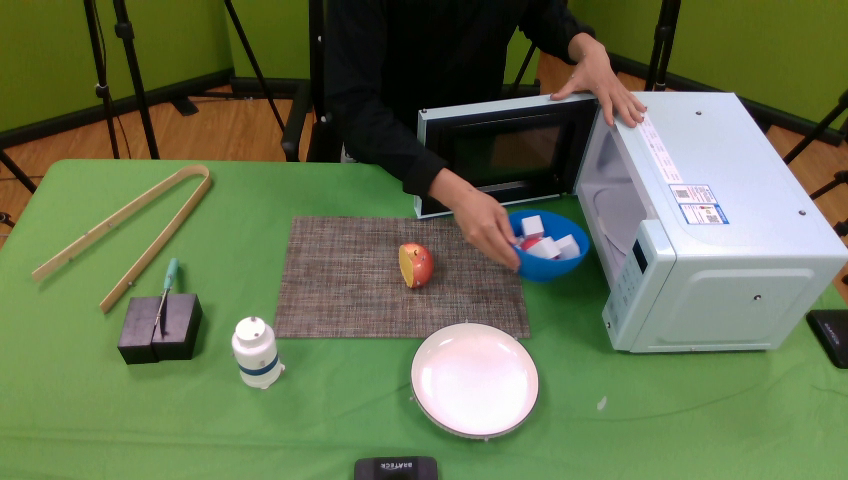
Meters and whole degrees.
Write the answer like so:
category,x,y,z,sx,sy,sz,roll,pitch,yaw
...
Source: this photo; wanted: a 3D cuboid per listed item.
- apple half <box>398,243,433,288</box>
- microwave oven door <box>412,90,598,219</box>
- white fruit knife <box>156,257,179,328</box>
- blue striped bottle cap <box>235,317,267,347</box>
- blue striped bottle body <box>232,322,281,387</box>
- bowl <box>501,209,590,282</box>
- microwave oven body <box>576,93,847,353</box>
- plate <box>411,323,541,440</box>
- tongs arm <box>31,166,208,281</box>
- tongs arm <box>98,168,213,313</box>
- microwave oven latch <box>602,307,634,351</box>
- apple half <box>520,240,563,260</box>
category,x,y,z,sx,sy,sz,roll,pitch,yaw
apple half,-0.012,0.046,1.115,0.053,0.075,0.080,-11,44,-20
microwave oven door,0.156,-0.168,1.200,0.356,0.245,0.039,-10,47,-14
white fruit knife,-0.440,0.085,1.037,0.016,0.027,0.206,10,26,-19
blue striped bottle cap,-0.259,0.137,0.907,0.044,0.021,0.044,2,43,-2
blue striped bottle body,-0.262,0.172,0.944,0.063,0.121,0.062,2,46,-2
bowl,0.201,0.020,1.044,0.151,0.077,0.150,6,35,-4
microwave oven body,0.475,-0.041,1.109,0.326,0.261,0.438,-1,45,-4
plate,0.082,0.228,0.976,0.208,0.039,0.206,2,45,-2
tongs arm,-0.578,-0.040,1.184,0.050,0.026,0.384,23,47,18
tongs arm,-0.504,-0.012,1.167,0.028,0.028,0.385,11,45,11
microwave oven latch,0.332,0.153,1.044,0.030,0.029,0.078,-1,45,-4
apple half,0.199,0.018,1.041,0.081,0.033,0.081,4,33,-3
